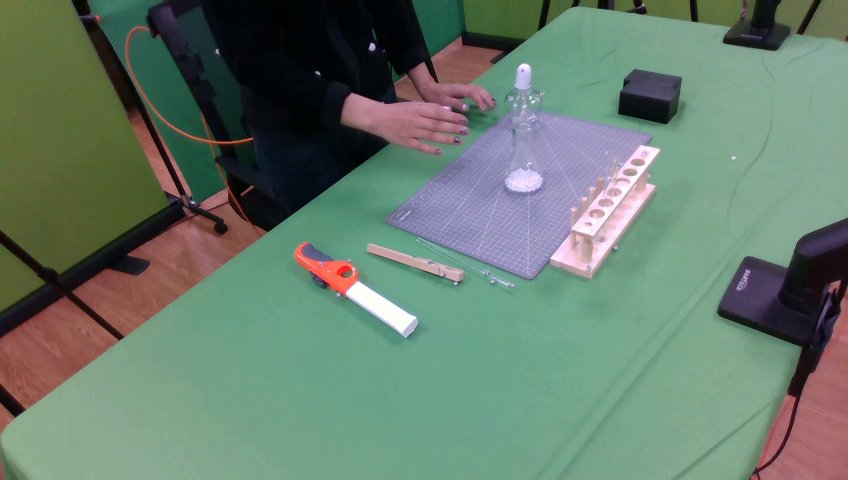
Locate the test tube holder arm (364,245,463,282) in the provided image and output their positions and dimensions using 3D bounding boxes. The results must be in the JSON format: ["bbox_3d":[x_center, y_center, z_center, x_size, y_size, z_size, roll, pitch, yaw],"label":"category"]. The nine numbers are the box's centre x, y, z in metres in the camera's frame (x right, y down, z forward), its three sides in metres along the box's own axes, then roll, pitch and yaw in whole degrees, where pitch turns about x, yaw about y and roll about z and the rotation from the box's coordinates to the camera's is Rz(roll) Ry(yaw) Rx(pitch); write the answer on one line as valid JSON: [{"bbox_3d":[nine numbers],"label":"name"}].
[{"bbox_3d":[-0.020,0.034,0.947,0.177,0.015,0.013,16,10,26],"label":"test tube holder arm"}]

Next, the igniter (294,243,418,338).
[{"bbox_3d":[-0.114,0.070,0.919,0.274,0.025,0.057,29,63,37],"label":"igniter"}]

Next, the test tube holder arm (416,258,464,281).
[{"bbox_3d":[0.022,0.045,0.931,0.087,0.015,0.010,16,10,28],"label":"test tube holder arm"}]

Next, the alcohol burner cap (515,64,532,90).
[{"bbox_3d":[0.199,-0.325,1.198,0.034,0.048,0.033,0,45,1],"label":"alcohol burner cap"}]

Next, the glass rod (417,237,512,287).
[{"bbox_3d":[0.059,0.032,0.945,0.198,0.008,0.008,27,52,38],"label":"glass rod"}]

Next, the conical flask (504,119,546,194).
[{"bbox_3d":[0.173,-0.146,1.041,0.075,0.122,0.075,-6,40,5],"label":"conical flask"}]

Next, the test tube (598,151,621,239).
[{"bbox_3d":[0.269,-0.062,0.880,0.017,0.151,0.017,-3,39,3],"label":"test tube"}]

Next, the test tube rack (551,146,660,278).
[{"bbox_3d":[0.286,-0.053,0.943,0.066,0.085,0.243,21,49,32],"label":"test tube rack"}]

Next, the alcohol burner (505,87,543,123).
[{"bbox_3d":[0.202,-0.298,1.222,0.078,0.119,0.077,-4,40,4],"label":"alcohol burner"}]
